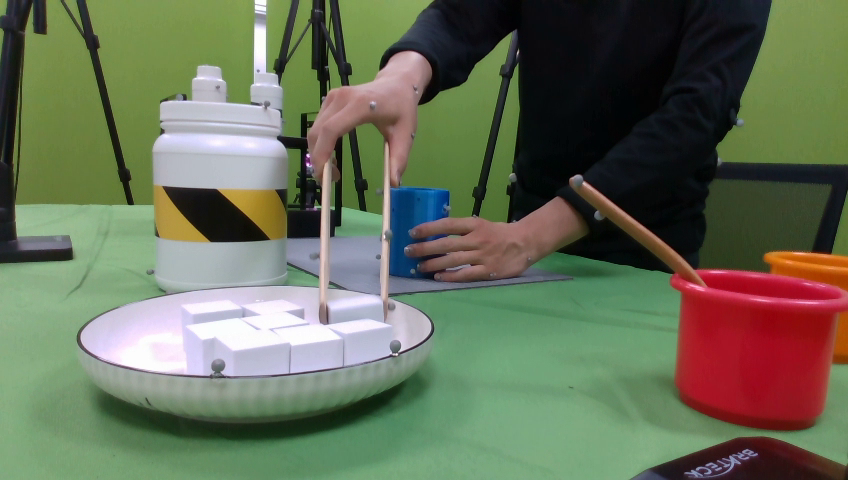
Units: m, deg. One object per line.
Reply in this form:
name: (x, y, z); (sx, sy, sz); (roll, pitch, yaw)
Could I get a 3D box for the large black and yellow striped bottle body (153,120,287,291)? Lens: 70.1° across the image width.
large black and yellow striped bottle body: (-0.208, -0.042, 0.626); (0.131, 0.184, 0.130); (2, 7, 0)

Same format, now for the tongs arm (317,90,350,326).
tongs arm: (-0.081, -0.059, 0.550); (0.028, 0.028, 0.386); (-6, 34, -3)

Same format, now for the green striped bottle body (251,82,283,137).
green striped bottle body: (-0.317, -0.270, 1.220); (0.063, 0.119, 0.063); (2, 7, 0)

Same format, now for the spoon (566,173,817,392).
spoon: (0.161, 0.024, 0.370); (0.193, 0.021, 0.042); (47, 17, 3)

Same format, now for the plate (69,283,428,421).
plate: (-0.102, 0.066, 0.381); (0.208, 0.039, 0.207); (2, 7, 0)

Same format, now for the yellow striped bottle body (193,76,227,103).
yellow striped bottle body: (-0.414, -0.268, 1.169); (0.063, 0.120, 0.063); (2, 7, 0)

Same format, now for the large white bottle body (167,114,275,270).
large white bottle body: (-0.257, -0.063, 0.771); (0.131, 0.184, 0.130); (2, 7, 0)

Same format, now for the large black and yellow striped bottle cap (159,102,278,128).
large black and yellow striped bottle cap: (-0.207, -0.125, 0.614); (0.115, 0.019, 0.115); (2, 6, 0)

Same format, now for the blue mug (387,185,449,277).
blue mug: (-0.019, -0.016, 0.763); (0.083, 0.106, 0.116); (-2, 8, -25)

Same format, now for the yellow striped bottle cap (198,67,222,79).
yellow striped bottle cap: (-0.411, -0.320, 1.163); (0.044, 0.018, 0.044); (1, 6, 0)

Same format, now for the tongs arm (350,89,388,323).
tongs arm: (-0.056, -0.060, 0.552); (0.051, 0.026, 0.384); (-1, 33, -2)

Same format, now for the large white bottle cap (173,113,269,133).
large white bottle cap: (-0.254, -0.147, 0.760); (0.115, 0.018, 0.115); (1, 7, 0)

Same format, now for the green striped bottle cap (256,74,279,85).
green striped bottle cap: (-0.314, -0.321, 1.214); (0.044, 0.020, 0.044); (2, 9, 0)

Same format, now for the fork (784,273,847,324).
fork: (0.332, 0.018, 0.444); (0.028, 0.018, 0.207); (-1, -35, -15)

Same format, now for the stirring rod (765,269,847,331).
stirring rod: (0.352, 0.020, 0.484); (0.176, 0.006, 0.014); (-40, -6, 13)
